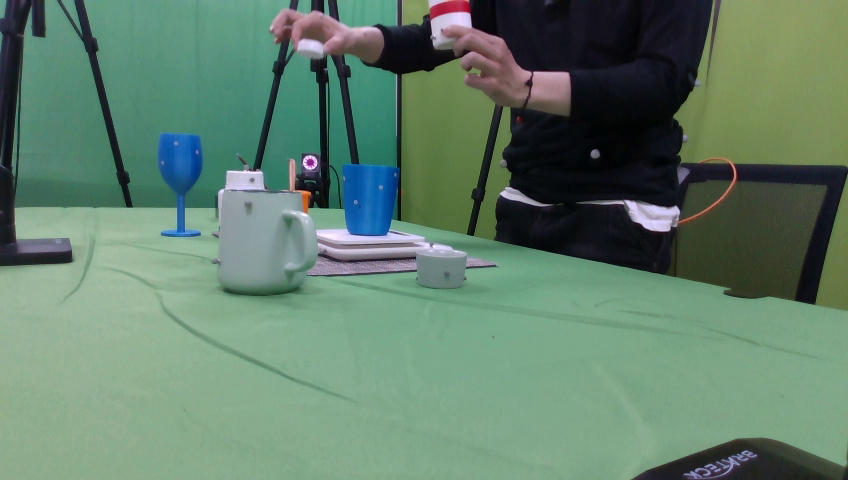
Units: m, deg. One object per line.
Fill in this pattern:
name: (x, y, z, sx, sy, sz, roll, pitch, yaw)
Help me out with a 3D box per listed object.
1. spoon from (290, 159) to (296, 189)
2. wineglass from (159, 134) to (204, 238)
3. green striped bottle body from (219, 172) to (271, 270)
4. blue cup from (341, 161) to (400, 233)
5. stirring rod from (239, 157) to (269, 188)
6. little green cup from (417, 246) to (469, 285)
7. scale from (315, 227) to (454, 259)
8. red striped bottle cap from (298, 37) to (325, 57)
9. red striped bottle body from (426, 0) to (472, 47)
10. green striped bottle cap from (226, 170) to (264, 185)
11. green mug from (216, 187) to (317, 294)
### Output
spoon: (-0.273, -0.102, 1.252, 0.042, 0.193, 0.021, 6, -38, -16)
wineglass: (-0.416, -0.093, 1.040, 0.074, 0.172, 0.073, 2, 7, 0)
green striped bottle body: (-0.223, -0.025, 0.755, 0.063, 0.119, 0.063, 2, 7, 0)
blue cup: (-0.080, -0.062, 0.883, 0.093, 0.100, 0.092, 2, 4, 0)
stirring rod: (-0.309, -0.098, 1.209, 0.006, 0.177, 0.014, -39, 29, -4)
little green cup: (0.021, 0.029, 0.701, 0.061, 0.038, 0.061, 1, 6, 0)
scale: (-0.066, 0.001, 0.906, 0.202, 0.031, 0.148, -2, 8, -31)
red striped bottle cap: (-0.187, -0.322, 1.009, 0.044, 0.017, 0.044, 1, -4, 0)
red striped bottle body: (0.034, -0.361, 0.918, 0.063, 0.119, 0.063, -9, 6, 1)
green striped bottle cap: (-0.222, -0.076, 0.748, 0.044, 0.020, 0.044, 0, 7, 0)
green mug: (-0.157, 0.000, 0.629, 0.124, 0.105, 0.093, 7, 9, 37)
